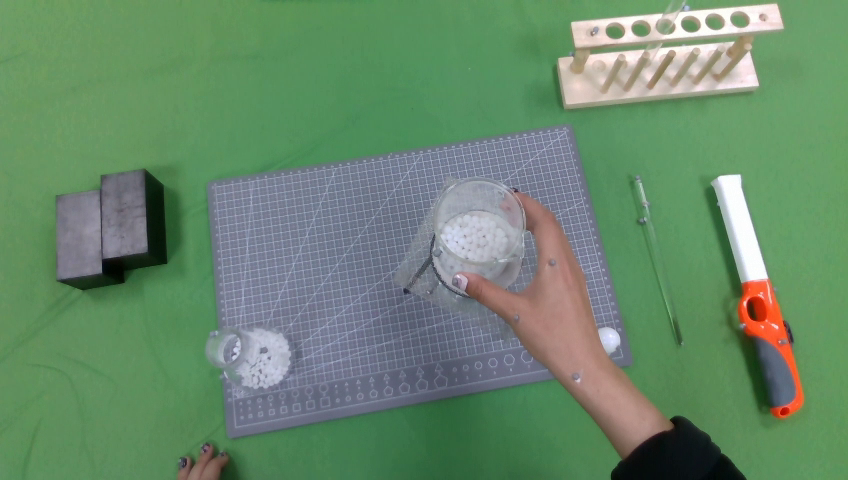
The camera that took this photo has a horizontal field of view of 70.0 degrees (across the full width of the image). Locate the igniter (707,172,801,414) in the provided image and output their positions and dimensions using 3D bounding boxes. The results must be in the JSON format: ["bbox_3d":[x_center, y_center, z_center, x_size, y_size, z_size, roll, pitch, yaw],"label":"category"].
[{"bbox_3d":[0.372,0.054,0.685,0.057,0.025,0.275,-5,75,-12],"label":"igniter"}]

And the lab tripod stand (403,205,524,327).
[{"bbox_3d":[0.047,0.029,0.635,0.148,0.132,0.147,0,76,1],"label":"lab tripod stand"}]

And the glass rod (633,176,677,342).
[{"bbox_3d":[0.268,0.020,0.705,0.008,0.008,0.198,-8,78,-2],"label":"glass rod"}]

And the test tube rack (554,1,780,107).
[{"bbox_3d":[0.288,-0.222,0.730,0.242,0.085,0.066,-6,74,-1],"label":"test tube rack"}]

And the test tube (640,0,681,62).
[{"bbox_3d":[0.270,-0.247,0.686,0.017,0.151,0.017,-1,74,3],"label":"test tube"}]

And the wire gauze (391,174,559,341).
[{"bbox_3d":[0.049,0.013,0.571,0.125,0.011,0.121,27,79,6],"label":"wire gauze"}]

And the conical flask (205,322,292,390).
[{"bbox_3d":[-0.183,0.113,0.618,0.075,0.122,0.075,0,74,0],"label":"conical flask"}]

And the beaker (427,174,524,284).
[{"bbox_3d":[0.045,-0.003,0.526,0.083,0.101,0.074,39,79,10],"label":"beaker"}]

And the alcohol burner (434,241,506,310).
[{"bbox_3d":[0.049,0.034,0.644,0.078,0.119,0.077,0,76,2],"label":"alcohol burner"}]

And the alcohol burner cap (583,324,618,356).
[{"bbox_3d":[0.195,0.107,0.661,0.034,0.048,0.033,0,74,0],"label":"alcohol burner cap"}]
